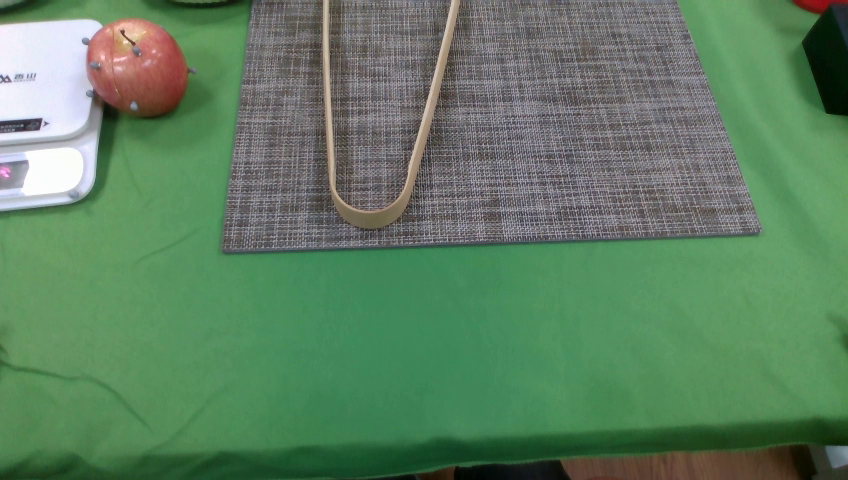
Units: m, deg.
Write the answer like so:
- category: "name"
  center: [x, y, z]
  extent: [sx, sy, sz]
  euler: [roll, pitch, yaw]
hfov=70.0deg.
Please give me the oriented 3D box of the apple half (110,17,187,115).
- category: "apple half"
  center: [-0.239, -0.153, 0.537]
  extent: [0.053, 0.075, 0.080]
  euler: [-10, 58, -10]

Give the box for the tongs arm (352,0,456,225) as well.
- category: "tongs arm"
  center: [-0.004, -0.181, 0.581]
  extent: [0.051, 0.027, 0.382]
  euler: [9, 61, 2]

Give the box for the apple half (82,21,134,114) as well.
- category: "apple half"
  center: [-0.277, -0.146, 0.531]
  extent: [0.033, 0.082, 0.080]
  euler: [-10, 61, -11]

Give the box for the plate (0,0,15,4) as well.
- category: "plate"
  center: [-0.455, -0.313, 0.640]
  extent: [0.208, 0.039, 0.206]
  euler: [1, 61, -1]

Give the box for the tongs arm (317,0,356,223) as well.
- category: "tongs arm"
  center: [-0.088, -0.185, 0.582]
  extent: [0.028, 0.028, 0.384]
  euler: [-2, 61, -8]

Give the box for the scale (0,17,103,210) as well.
- category: "scale"
  center: [-0.363, -0.116, 0.535]
  extent: [0.149, 0.032, 0.199]
  euler: [-7, 62, -5]
